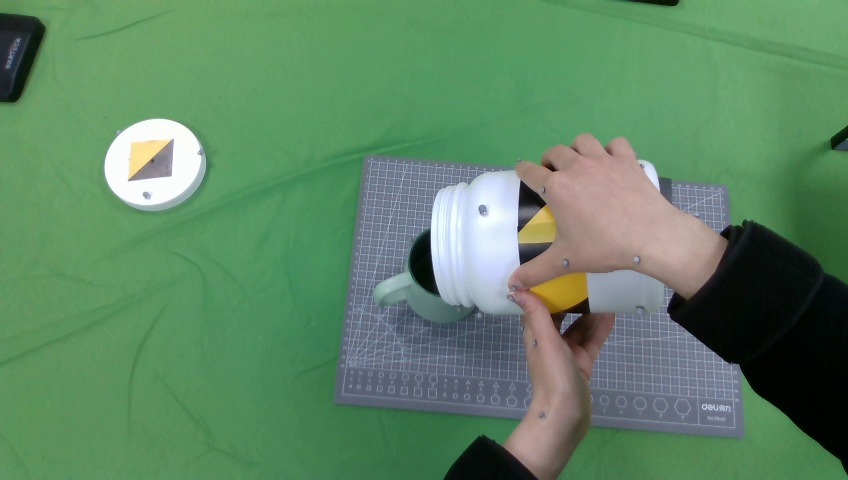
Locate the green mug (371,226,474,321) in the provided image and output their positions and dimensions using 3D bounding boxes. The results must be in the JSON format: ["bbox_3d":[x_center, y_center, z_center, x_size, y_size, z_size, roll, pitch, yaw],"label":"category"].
[{"bbox_3d":[0.004,0.041,0.648,0.125,0.105,0.092,-20,74,-8],"label":"green mug"}]

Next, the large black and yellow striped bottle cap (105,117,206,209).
[{"bbox_3d":[-0.322,-0.094,0.728,0.115,0.019,0.114,1,71,-2],"label":"large black and yellow striped bottle cap"}]

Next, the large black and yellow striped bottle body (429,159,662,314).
[{"bbox_3d":[0.106,0.000,0.532,0.183,0.132,0.130,-3,71,16],"label":"large black and yellow striped bottle body"}]
